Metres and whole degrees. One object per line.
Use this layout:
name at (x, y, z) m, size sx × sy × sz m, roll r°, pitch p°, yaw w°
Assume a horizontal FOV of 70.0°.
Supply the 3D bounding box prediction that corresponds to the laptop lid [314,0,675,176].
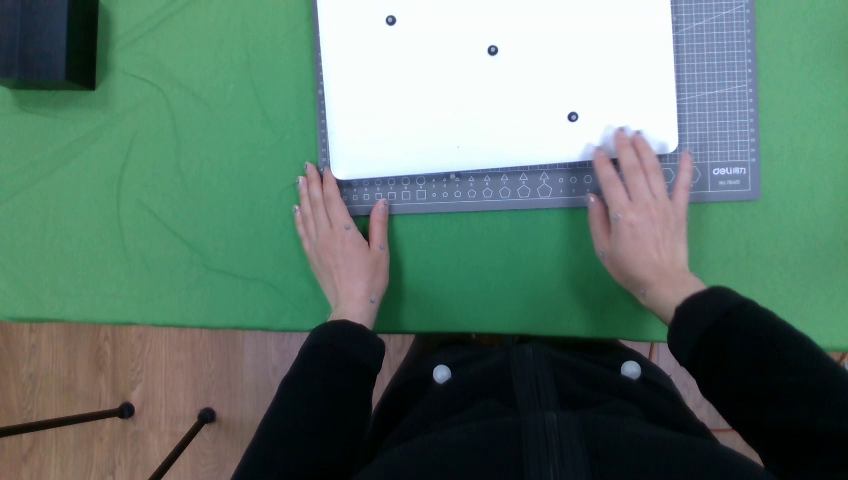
laptop lid at (0.068, -0.193, 0.608) m, size 0.356 × 0.013 × 0.241 m, roll -3°, pitch 93°, yaw 4°

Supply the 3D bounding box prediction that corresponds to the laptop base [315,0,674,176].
laptop base at (0.068, -0.195, 0.620) m, size 0.354 × 0.023 × 0.235 m, roll -4°, pitch 94°, yaw 3°
